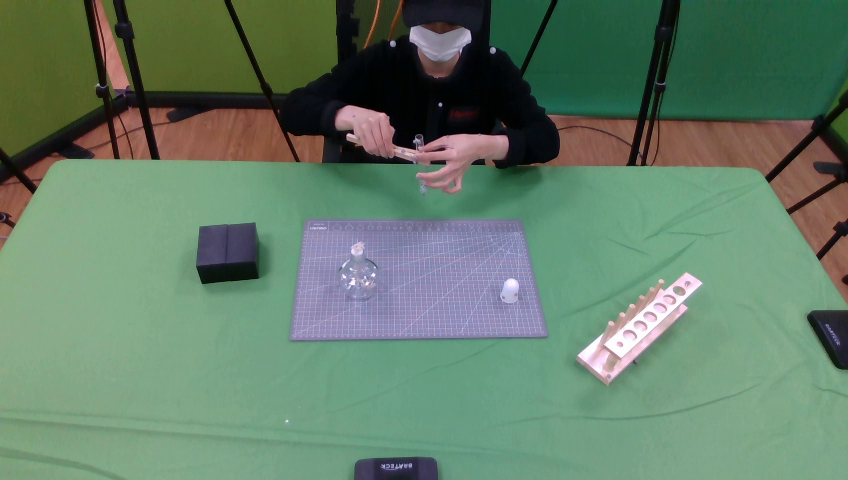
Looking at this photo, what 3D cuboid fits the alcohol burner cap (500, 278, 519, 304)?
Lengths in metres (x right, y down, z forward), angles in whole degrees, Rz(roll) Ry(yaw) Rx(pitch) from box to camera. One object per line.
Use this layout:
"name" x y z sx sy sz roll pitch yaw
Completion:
"alcohol burner cap" 0.157 0.090 1.104 0.034 0.048 0.033 2 46 -2

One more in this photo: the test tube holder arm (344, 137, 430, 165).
"test tube holder arm" -0.074 -0.174 1.178 0.178 0.015 0.013 14 41 12

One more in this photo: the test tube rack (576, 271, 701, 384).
"test tube rack" 0.373 0.138 1.047 0.242 0.085 0.066 -31 56 -29

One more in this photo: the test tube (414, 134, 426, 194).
"test tube" -0.007 -0.146 1.184 0.017 0.151 0.017 -2 50 3

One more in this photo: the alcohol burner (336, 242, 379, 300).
"alcohol burner" -0.118 0.050 1.072 0.078 0.120 0.077 2 44 -1

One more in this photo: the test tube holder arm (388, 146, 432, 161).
"test tube holder arm" -0.029 -0.168 1.174 0.088 0.015 0.010 9 41 6
